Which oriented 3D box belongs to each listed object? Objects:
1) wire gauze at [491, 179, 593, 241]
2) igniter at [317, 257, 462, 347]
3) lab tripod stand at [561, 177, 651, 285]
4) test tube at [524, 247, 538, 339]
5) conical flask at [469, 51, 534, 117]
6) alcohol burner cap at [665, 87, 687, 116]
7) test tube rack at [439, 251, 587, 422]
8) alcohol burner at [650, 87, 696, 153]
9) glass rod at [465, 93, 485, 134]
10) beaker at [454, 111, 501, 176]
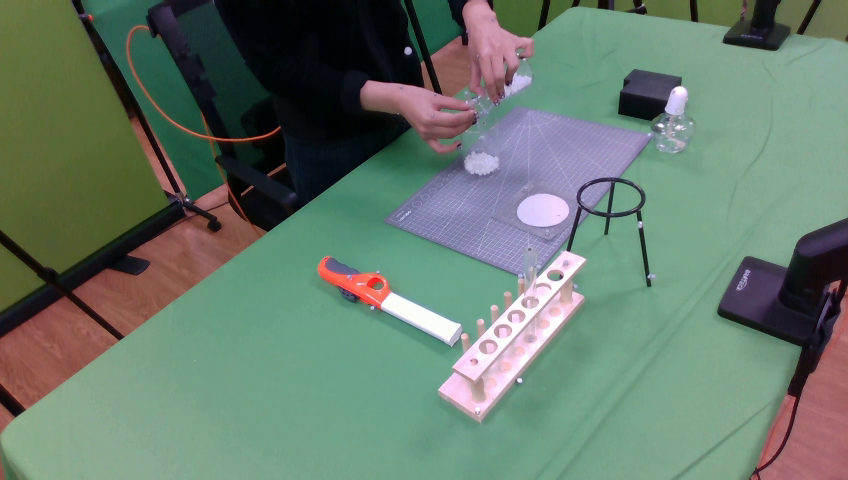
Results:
[{"bbox_3d":[0.198,-0.051,1.014,0.125,0.011,0.120,-38,48,-27],"label":"wire gauze"},{"bbox_3d":[-0.061,0.086,0.891,0.274,0.025,0.057,23,59,33],"label":"igniter"},{"bbox_3d":[0.263,-0.014,0.864,0.148,0.132,0.147,-7,38,6],"label":"lab tripod stand"},{"bbox_3d":[0.133,0.070,0.749,0.017,0.151,0.017,-5,38,4],"label":"test tube"},{"bbox_3d":[0.130,-0.267,1.059,0.074,0.076,0.122,30,67,37],"label":"conical flask"},{"bbox_3d":[0.445,-0.244,1.060,0.034,0.048,0.033,-2,45,3],"label":"alcohol burner cap"},{"bbox_3d":[0.118,0.111,0.780,0.066,0.085,0.243,26,51,34],"label":"test tube rack"},{"bbox_3d":[0.448,-0.217,1.084,0.078,0.119,0.077,-6,38,5],"label":"alcohol burner"},{"bbox_3d":[0.090,-0.213,1.030,0.008,0.200,0.008,-2,82,13],"label":"glass rod"},{"bbox_3d":[0.101,-0.174,1.106,0.084,0.101,0.073,-5,40,6],"label":"beaker"}]
